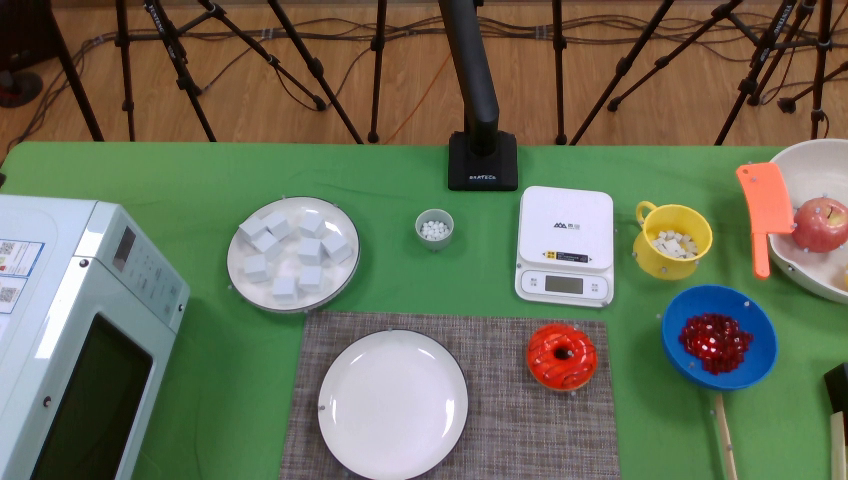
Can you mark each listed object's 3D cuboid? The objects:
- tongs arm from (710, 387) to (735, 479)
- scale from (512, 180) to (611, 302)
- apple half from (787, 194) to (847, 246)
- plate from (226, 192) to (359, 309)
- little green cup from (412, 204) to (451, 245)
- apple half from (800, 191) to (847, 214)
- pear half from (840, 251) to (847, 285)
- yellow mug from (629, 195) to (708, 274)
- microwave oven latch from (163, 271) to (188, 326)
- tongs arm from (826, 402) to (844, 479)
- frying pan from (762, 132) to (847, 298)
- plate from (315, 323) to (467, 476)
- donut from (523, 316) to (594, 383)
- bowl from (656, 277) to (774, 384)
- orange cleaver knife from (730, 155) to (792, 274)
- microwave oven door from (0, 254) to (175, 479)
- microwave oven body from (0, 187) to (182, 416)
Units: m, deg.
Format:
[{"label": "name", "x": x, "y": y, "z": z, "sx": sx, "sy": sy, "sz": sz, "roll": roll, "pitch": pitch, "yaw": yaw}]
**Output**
[{"label": "tongs arm", "x": 0.406, "y": 0.371, "z": 0.737, "sx": 0.051, "sy": 0.027, "sz": 0.381, "roll": 4, "pitch": 62, "yaw": 0}, {"label": "scale", "x": 0.219, "y": -0.003, "z": 0.956, "sx": 0.148, "sy": 0.032, "sz": 0.199, "roll": 5, "pitch": 61, "yaw": 6}, {"label": "apple half", "x": 0.591, "y": -0.022, "z": 0.922, "sx": 0.080, "sy": 0.075, "sz": 0.053, "roll": 41, "pitch": 73, "yaw": 19}, {"label": "plate", "x": -0.205, "y": 0.018, "z": 0.959, "sx": 0.207, "sy": 0.039, "sz": 0.206, "roll": -1, "pitch": 60, "yaw": 2}, {"label": "little green cup", "x": 0.013, "y": -0.023, "z": 0.973, "sx": 0.061, "sy": 0.039, "sz": 0.061, "roll": -1, "pitch": 60, "yaw": 2}, {"label": "apple half", "x": 0.618, "y": -0.048, "z": 0.934, "sx": 0.080, "sy": 0.082, "sz": 0.033, "roll": 39, "pitch": 73, "yaw": 22}, {"label": "pear half", "x": 0.646, "y": 0.037, "z": 0.866, "sx": 0.076, "sy": 0.111, "sz": 0.056, "roll": 33, "pitch": 68, "yaw": 23}, {"label": "yellow mug", "x": 0.367, "y": -0.018, "z": 0.939, "sx": 0.100, "sy": 0.064, "sz": 0.129, "roll": -27, "pitch": 62, "yaw": -12}, {"label": "microwave oven latch", "x": -0.377, "y": 0.087, "z": 0.906, "sx": 0.030, "sy": 0.030, "sz": 0.078, "roll": 5, "pitch": 62, "yaw": 5}, {"label": "tongs arm", "x": 0.491, "y": 0.382, "z": 0.731, "sx": 0.028, "sy": 0.028, "sz": 0.385, "roll": 18, "pitch": 63, "yaw": 4}, {"label": "frying pan", "x": 0.686, "y": 0.040, "z": 0.871, "sx": 0.307, "sy": 0.104, "sz": 0.482, "roll": -22, "pitch": 54, "yaw": -9}, {"label": "plate", "x": -0.044, "y": 0.218, "z": 0.835, "sx": 0.209, "sy": 0.038, "sz": 0.207, "roll": -1, "pitch": 60, "yaw": 2}, {"label": "donut", "x": 0.189, "y": 0.155, "z": 0.857, "sx": 0.099, "sy": 0.048, "sz": 0.098, "roll": -2, "pitch": 61, "yaw": 4}, {"label": "bowl", "x": 0.392, "y": 0.135, "z": 0.845, "sx": 0.151, "sy": 0.077, "sz": 0.150, "roll": -1, "pitch": 62, "yaw": 2}, {"label": "orange cleaver knife", "x": 0.507, "y": -0.043, "z": 0.905, "sx": 0.077, "sy": 0.012, "sz": 0.209, "roll": 5, "pitch": 61, "yaw": 8}, {"label": "microwave oven door", "x": -0.407, "y": 0.225, "z": 0.711, "sx": 0.039, "sy": 0.246, "sz": 0.353, "roll": 4, "pitch": 61, "yaw": 5}, {"label": "microwave oven body", "x": -0.547, "y": 0.182, "z": 0.748, "sx": 0.326, "sy": 0.262, "sz": 0.438, "roll": 4, "pitch": 61, "yaw": 4}]
